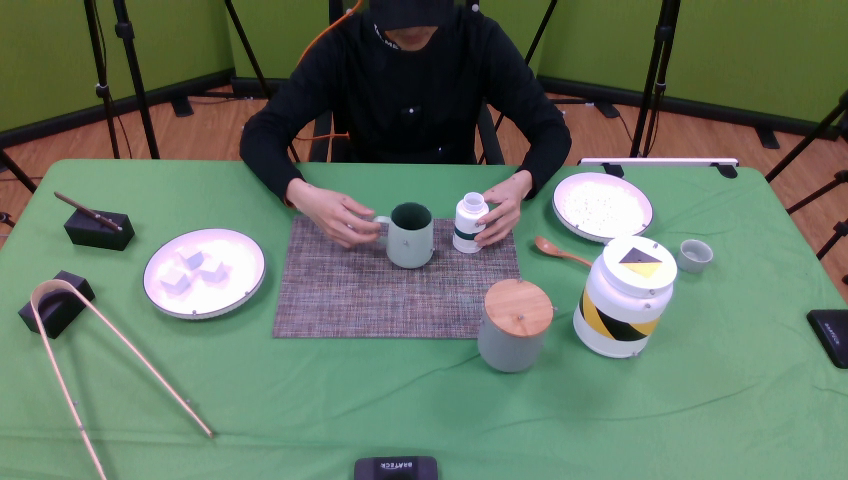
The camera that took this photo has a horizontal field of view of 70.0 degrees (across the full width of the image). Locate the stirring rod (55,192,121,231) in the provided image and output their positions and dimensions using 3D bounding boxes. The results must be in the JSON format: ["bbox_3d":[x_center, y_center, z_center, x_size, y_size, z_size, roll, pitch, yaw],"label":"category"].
[{"bbox_3d":[-0.632,-0.055,1.138,0.175,0.014,0.006,24,50,19],"label":"stirring rod"}]

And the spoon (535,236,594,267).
[{"bbox_3d":[0.303,0.040,1.178,0.193,0.022,0.041,25,31,19],"label":"spoon"}]

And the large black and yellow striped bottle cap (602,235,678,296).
[{"bbox_3d":[0.340,0.037,0.956,0.115,0.019,0.114,2,47,-2],"label":"large black and yellow striped bottle cap"}]

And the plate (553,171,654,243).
[{"bbox_3d":[0.373,-0.066,1.275,0.209,0.038,0.208,2,46,-2],"label":"plate"}]

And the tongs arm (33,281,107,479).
[{"bbox_3d":[-0.517,0.214,0.910,0.051,0.026,0.383,-28,63,-27],"label":"tongs arm"}]

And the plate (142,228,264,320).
[{"bbox_3d":[-0.394,0.064,1.095,0.208,0.039,0.206,2,46,-2],"label":"plate"}]

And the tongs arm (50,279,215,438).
[{"bbox_3d":[-0.459,0.178,0.949,0.386,0.028,0.028,37,60,17],"label":"tongs arm"}]

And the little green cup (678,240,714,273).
[{"bbox_3d":[0.531,0.033,1.190,0.061,0.039,0.061,2,46,-1],"label":"little green cup"}]

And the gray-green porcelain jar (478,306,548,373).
[{"bbox_3d":[0.144,0.148,0.989,0.106,0.127,0.105,2,50,-2],"label":"gray-green porcelain jar"}]

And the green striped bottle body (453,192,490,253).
[{"bbox_3d":[0.091,-0.035,1.163,0.063,0.120,0.063,2,46,-2],"label":"green striped bottle body"}]

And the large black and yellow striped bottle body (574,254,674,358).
[{"bbox_3d":[0.335,0.096,1.014,0.131,0.185,0.130,2,46,-2],"label":"large black and yellow striped bottle body"}]

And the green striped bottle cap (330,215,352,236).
[{"bbox_3d":[-0.166,-0.029,1.213,0.044,0.020,0.044,1,50,-1],"label":"green striped bottle cap"}]

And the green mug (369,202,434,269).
[{"bbox_3d":[-0.043,-0.010,1.140,0.125,0.105,0.092,7,46,4],"label":"green mug"}]

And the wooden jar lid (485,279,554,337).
[{"bbox_3d":[0.147,0.108,0.940,0.108,0.021,0.107,4,47,-4],"label":"wooden jar lid"}]
